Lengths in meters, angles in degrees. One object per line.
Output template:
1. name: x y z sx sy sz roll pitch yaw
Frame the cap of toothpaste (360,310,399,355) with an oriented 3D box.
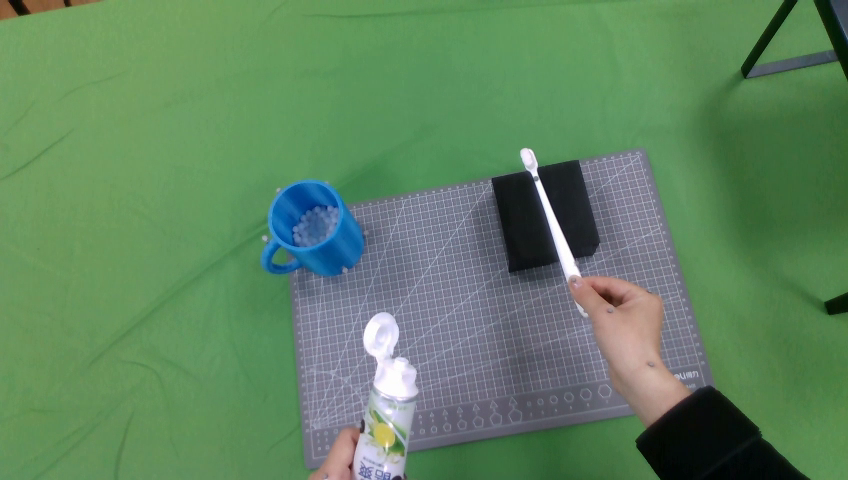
1. cap of toothpaste: -0.033 0.071 0.465 0.011 0.038 0.037 11 72 45

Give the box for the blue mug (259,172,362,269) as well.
1. blue mug: -0.134 -0.009 0.686 0.116 0.106 0.082 -37 73 -5

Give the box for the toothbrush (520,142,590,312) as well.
1. toothbrush: 0.128 -0.015 0.597 0.014 0.017 0.181 -21 77 13

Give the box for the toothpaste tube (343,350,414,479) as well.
1. toothpaste tube: -0.038 0.162 0.469 0.055 0.034 0.165 15 101 21
